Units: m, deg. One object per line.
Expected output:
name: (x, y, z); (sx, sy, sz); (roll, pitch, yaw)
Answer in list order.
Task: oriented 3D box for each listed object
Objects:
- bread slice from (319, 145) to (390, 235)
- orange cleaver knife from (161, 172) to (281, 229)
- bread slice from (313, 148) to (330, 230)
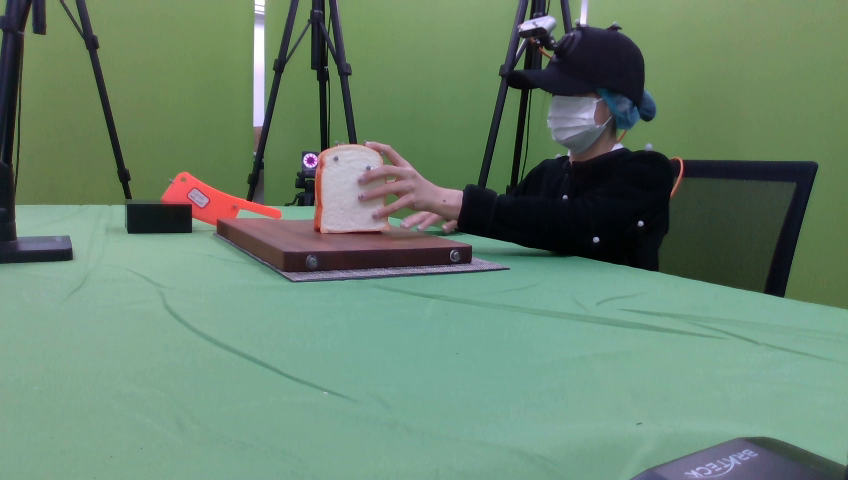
bread slice: (-0.109, -0.075, 0.907); (0.107, 0.134, 0.018); (-6, 6, -20)
orange cleaver knife: (-0.372, -0.061, 1.121); (0.212, 0.077, 0.012); (20, -6, -30)
bread slice: (-0.123, -0.081, 0.957); (0.105, 0.131, 0.019); (0, 2, -17)
